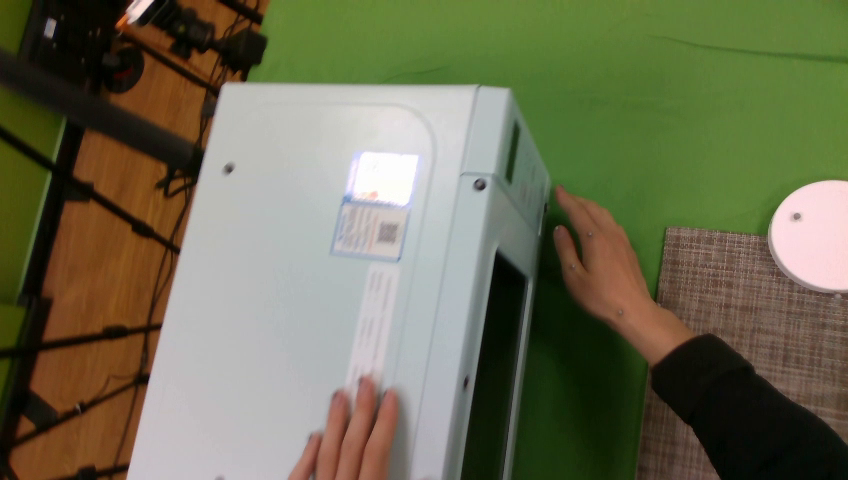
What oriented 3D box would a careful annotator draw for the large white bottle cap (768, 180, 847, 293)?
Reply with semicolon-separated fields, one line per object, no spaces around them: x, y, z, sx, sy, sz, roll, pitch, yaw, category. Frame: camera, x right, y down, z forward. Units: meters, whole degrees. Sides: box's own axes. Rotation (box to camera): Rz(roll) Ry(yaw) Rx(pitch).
0.411;-0.004;0.607;0.114;0.018;0.114;-5;75;19;large white bottle cap

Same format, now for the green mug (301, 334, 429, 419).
-0.057;0.143;0.643;0.125;0.105;0.092;-8;78;12;green mug

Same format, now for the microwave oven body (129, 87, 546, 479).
-0.073;0.096;0.636;0.324;0.262;0.440;6;80;21;microwave oven body

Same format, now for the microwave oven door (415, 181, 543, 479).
0.053;0.148;0.570;0.039;0.246;0.354;5;79;22;microwave oven door

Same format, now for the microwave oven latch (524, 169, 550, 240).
0.127;-0.041;0.698;0.030;0.030;0.079;7;81;22;microwave oven latch
